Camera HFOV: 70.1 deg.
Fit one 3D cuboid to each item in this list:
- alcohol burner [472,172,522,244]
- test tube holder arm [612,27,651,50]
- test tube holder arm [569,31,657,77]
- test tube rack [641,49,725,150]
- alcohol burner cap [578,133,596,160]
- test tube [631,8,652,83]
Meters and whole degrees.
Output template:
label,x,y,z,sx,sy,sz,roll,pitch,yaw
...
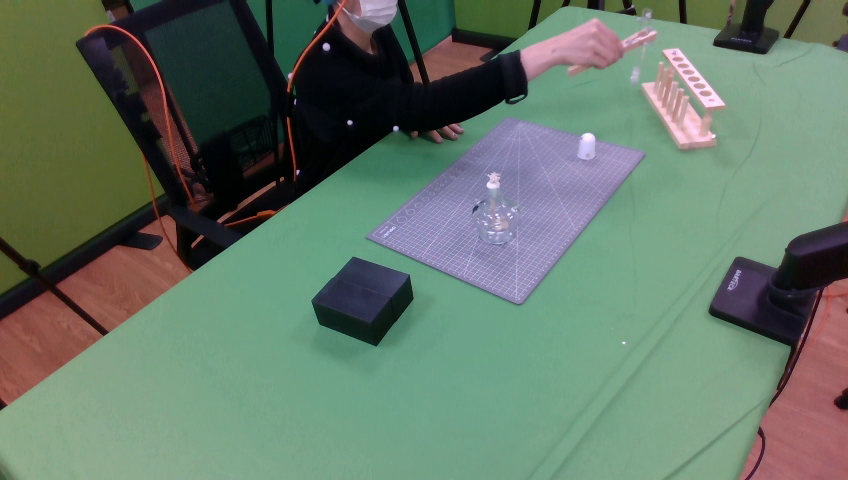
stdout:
label,x,y,z,sx,sy,sz,roll,pitch,yaw
alcohol burner,0.112,-0.053,0.942,0.078,0.119,0.077,-6,40,5
test tube holder arm,0.359,-0.344,1.049,0.088,0.015,0.010,-33,52,-17
test tube holder arm,0.324,-0.319,1.034,0.179,0.015,0.013,-28,50,-13
test tube rack,0.495,-0.279,1.175,0.067,0.085,0.241,-5,41,3
alcohol burner cap,0.301,-0.174,1.111,0.034,0.048,0.033,-4,41,4
test tube,0.383,-0.339,1.069,0.017,0.151,0.017,-4,53,6
